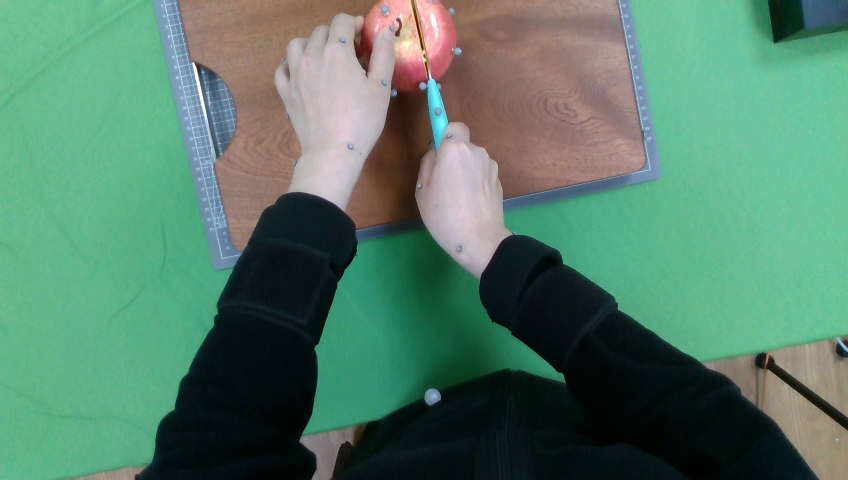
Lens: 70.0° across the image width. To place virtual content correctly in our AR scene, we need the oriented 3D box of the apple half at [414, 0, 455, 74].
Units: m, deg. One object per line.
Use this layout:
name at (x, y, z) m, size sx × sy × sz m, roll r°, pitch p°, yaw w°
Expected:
apple half at (0.010, -0.184, 0.526) m, size 0.033 × 0.081 × 0.081 m, roll -14°, pitch 93°, yaw 0°

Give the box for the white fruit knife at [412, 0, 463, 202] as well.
white fruit knife at (0.005, -0.134, 0.517) m, size 0.016 × 0.027 × 0.207 m, roll -13°, pitch 95°, yaw -3°

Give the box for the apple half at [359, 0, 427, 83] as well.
apple half at (-0.029, -0.175, 0.528) m, size 0.053 × 0.074 × 0.081 m, roll -13°, pitch 97°, yaw 6°
